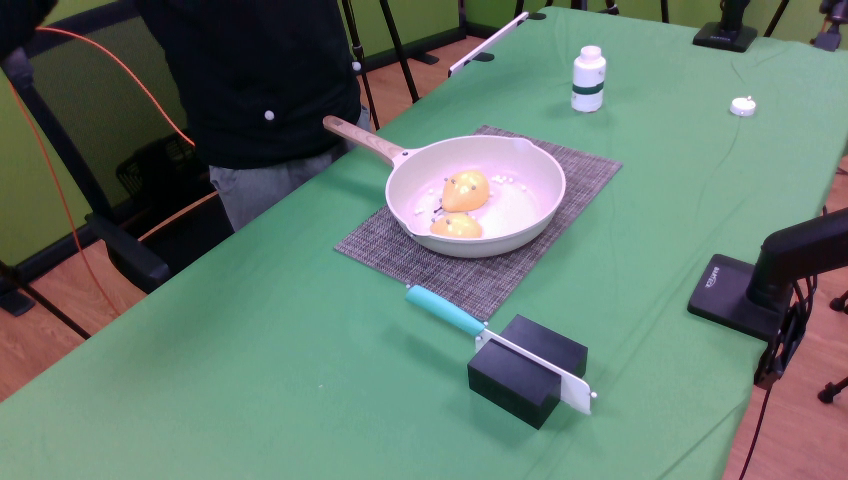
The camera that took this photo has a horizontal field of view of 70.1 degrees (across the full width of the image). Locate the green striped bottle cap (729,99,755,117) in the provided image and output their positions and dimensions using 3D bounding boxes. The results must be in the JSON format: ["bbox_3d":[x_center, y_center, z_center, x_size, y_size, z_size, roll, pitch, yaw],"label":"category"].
[{"bbox_3d":[0.623,-0.258,1.182,0.044,0.020,0.044,-4,40,4],"label":"green striped bottle cap"}]

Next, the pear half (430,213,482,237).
[{"bbox_3d":[0.050,-0.024,0.973,0.087,0.031,0.070,14,40,18],"label":"pear half"}]

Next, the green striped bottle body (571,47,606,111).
[{"bbox_3d":[0.333,-0.327,1.224,0.063,0.120,0.063,-4,41,4],"label":"green striped bottle body"}]

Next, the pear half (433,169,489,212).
[{"bbox_3d":[0.057,-0.083,1.024,0.110,0.056,0.075,-34,42,-25],"label":"pear half"}]

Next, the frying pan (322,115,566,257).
[{"bbox_3d":[0.004,-0.121,1.039,0.484,0.103,0.308,31,52,25],"label":"frying pan"}]

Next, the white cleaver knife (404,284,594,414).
[{"bbox_3d":[0.084,0.135,0.764,0.284,0.066,0.021,28,47,31],"label":"white cleaver knife"}]
